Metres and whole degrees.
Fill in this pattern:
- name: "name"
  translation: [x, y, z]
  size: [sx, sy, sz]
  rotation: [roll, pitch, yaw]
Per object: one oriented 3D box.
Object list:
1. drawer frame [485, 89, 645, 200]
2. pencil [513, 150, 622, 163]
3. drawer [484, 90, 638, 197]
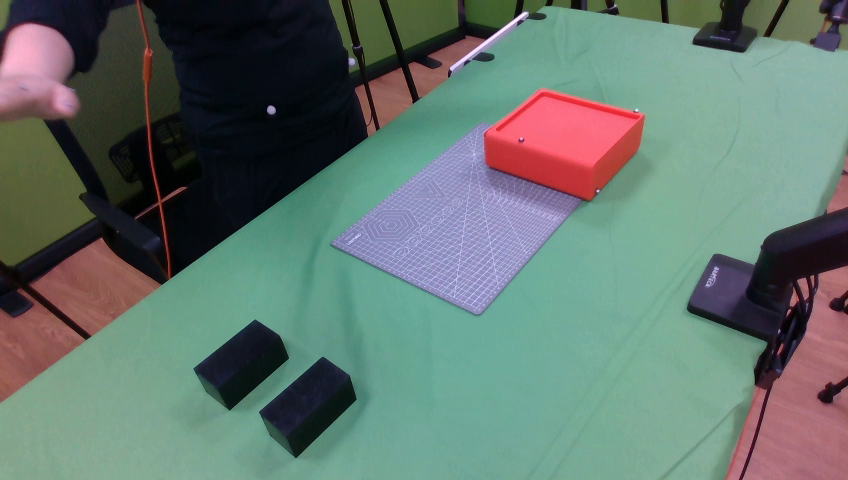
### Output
- name: "drawer frame"
  translation: [0.253, -0.180, 1.094]
  size: [0.212, 0.083, 0.202]
  rotation: [24, 48, 31]
- name: "pencil"
  translation: [0.260, -0.150, 1.099]
  size: [0.194, 0.012, 0.012]
  rotation: [-4, 40, 6]
- name: "drawer"
  translation: [0.247, -0.180, 1.097]
  size: [0.210, 0.073, 0.195]
  rotation: [25, 49, 31]
